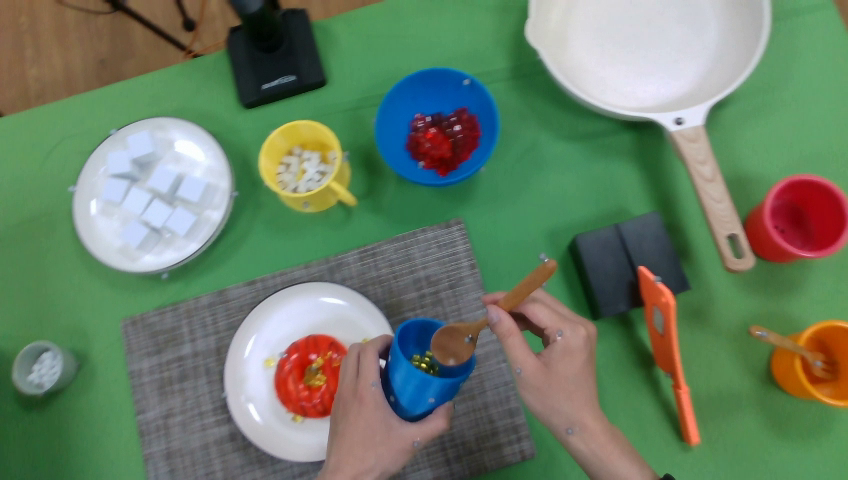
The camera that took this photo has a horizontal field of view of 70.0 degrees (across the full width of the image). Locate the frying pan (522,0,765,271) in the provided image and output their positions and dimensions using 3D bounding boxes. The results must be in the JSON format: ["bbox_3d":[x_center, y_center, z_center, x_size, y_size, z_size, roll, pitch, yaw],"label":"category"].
[{"bbox_3d":[0.293,-0.189,0.740,0.307,0.103,0.484,-12,69,2],"label":"frying pan"}]

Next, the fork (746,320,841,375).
[{"bbox_3d":[0.396,0.114,0.642,0.209,0.018,0.028,22,76,-36],"label":"fork"}]

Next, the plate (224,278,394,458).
[{"bbox_3d":[-0.129,0.149,0.721,0.209,0.038,0.208,-1,78,4],"label":"plate"}]

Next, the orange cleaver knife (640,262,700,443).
[{"bbox_3d":[0.274,0.126,0.681,0.012,0.077,0.212,-18,105,0],"label":"orange cleaver knife"}]

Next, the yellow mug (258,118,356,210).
[{"bbox_3d":[-0.138,-0.086,0.764,0.130,0.064,0.100,35,81,10],"label":"yellow mug"}]

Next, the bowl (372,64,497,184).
[{"bbox_3d":[0.015,-0.133,0.759,0.151,0.077,0.150,-1,78,4],"label":"bowl"}]

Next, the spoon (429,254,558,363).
[{"bbox_3d":[0.057,0.064,0.526,0.041,0.194,0.021,45,52,3],"label":"spoon"}]

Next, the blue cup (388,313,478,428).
[{"bbox_3d":[0.003,0.137,0.604,0.093,0.101,0.091,5,45,-5],"label":"blue cup"}]

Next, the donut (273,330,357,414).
[{"bbox_3d":[-0.127,0.154,0.708,0.099,0.048,0.098,0,81,3],"label":"donut"}]

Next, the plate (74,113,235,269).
[{"bbox_3d":[-0.344,-0.062,0.786,0.207,0.039,0.206,-1,77,4],"label":"plate"}]

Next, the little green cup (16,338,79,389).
[{"bbox_3d":[-0.459,0.152,0.744,0.061,0.039,0.061,0,78,2],"label":"little green cup"}]
